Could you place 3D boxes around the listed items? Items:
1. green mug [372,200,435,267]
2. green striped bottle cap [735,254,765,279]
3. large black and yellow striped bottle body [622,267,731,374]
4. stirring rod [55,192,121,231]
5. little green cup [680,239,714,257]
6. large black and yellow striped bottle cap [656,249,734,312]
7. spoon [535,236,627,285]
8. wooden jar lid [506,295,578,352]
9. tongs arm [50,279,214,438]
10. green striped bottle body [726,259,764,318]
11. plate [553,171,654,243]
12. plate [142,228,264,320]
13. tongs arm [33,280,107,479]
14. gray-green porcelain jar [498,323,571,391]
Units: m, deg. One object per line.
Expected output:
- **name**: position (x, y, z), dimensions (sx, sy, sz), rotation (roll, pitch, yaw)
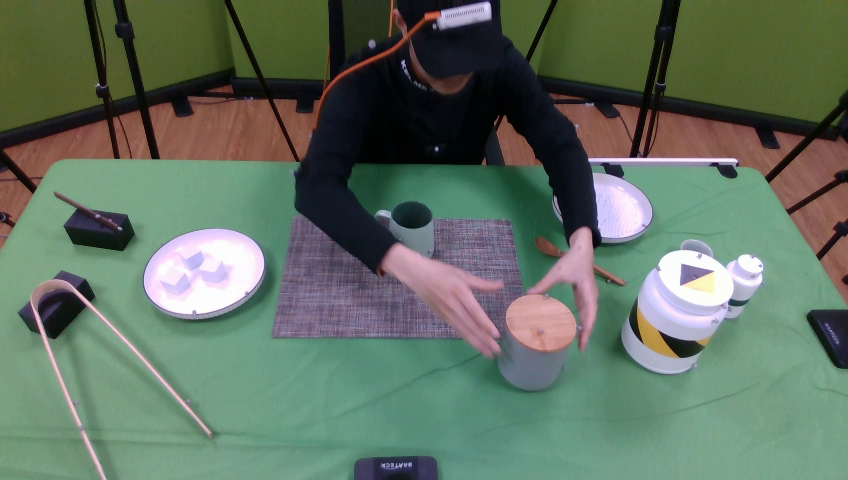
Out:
- **green mug**: position (-0.040, -0.016, 1.146), dimensions (0.125, 0.105, 0.092), rotation (17, 48, 13)
- **green striped bottle cap**: position (0.566, 0.046, 1.051), dimensions (0.044, 0.020, 0.044), rotation (0, 45, 0)
- **large black and yellow striped bottle body**: position (0.415, 0.120, 0.997), dimensions (0.131, 0.185, 0.130), rotation (2, 46, -2)
- **stirring rod**: position (-0.632, -0.055, 1.138), dimensions (0.175, 0.014, 0.006), rotation (24, 50, 19)
- **little green cup**: position (0.530, 0.033, 1.190), dimensions (0.061, 0.039, 0.061), rotation (2, 47, -2)
- **large black and yellow striped bottle cap**: position (0.419, 0.061, 0.938), dimensions (0.115, 0.019, 0.114), rotation (2, 47, -2)
- **spoon**: position (0.303, 0.040, 1.178), dimensions (0.193, 0.022, 0.041), rotation (25, 36, 20)
- **wooden jar lid**: position (0.179, 0.130, 0.925), dimensions (0.108, 0.021, 0.107), rotation (2, 43, -2)
- **tongs arm**: position (-0.459, 0.178, 0.949), dimensions (0.386, 0.028, 0.028), rotation (38, 60, 17)
- **green striped bottle body**: position (0.563, 0.081, 1.089), dimensions (0.063, 0.120, 0.063), rotation (2, 46, -2)
- **plate**: position (0.374, -0.066, 1.275), dimensions (0.209, 0.038, 0.208), rotation (2, 46, -2)
- **plate**: position (-0.394, 0.064, 1.095), dimensions (0.208, 0.039, 0.206), rotation (2, 46, -2)
- **tongs arm**: position (-0.517, 0.213, 0.909), dimensions (0.051, 0.026, 0.383), rotation (-29, 63, -27)
- **gray-green porcelain jar**: position (0.176, 0.172, 0.971), dimensions (0.106, 0.127, 0.105), rotation (2, 46, -2)
